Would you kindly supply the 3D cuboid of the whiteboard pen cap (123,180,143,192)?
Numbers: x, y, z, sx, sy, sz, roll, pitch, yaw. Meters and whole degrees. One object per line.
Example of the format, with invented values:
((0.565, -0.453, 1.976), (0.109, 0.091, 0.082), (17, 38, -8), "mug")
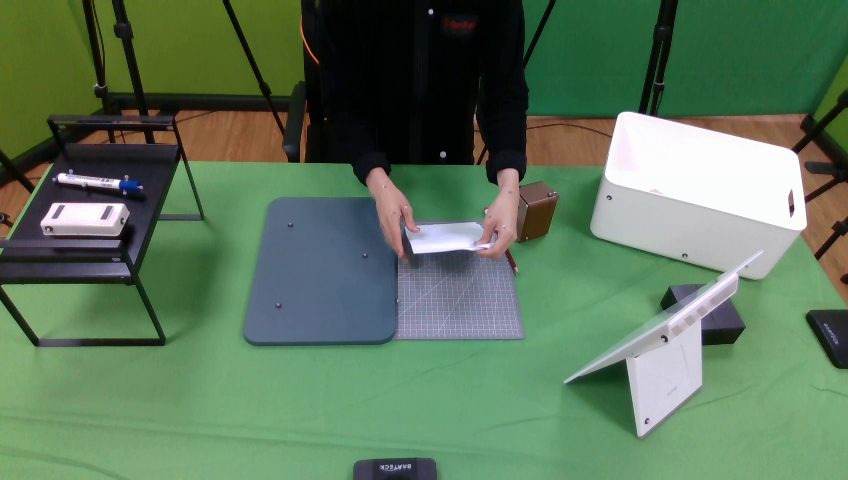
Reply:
((-0.479, -0.089, 0.993), (0.033, 0.018, 0.018), (7, 46, 14), "whiteboard pen cap")

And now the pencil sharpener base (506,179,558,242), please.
((0.216, -0.059, 1.211), (0.077, 0.107, 0.061), (-16, 49, -19), "pencil sharpener base")

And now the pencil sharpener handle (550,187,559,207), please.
((0.261, -0.084, 1.221), (0.031, 0.068, 0.036), (-16, 65, -19), "pencil sharpener handle")

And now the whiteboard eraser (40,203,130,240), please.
((-0.513, -0.028, 0.922), (0.113, 0.042, 0.055), (1, 48, -3), "whiteboard eraser")

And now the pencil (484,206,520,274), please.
((0.156, -0.002, 1.218), (0.012, 0.012, 0.192), (-10, 48, -13), "pencil")

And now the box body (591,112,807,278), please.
((0.540, -0.092, 1.229), (0.363, 0.161, 0.253), (16, 47, 11), "box body")

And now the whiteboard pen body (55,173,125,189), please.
((-0.539, -0.095, 0.998), (0.141, 0.017, 0.017), (6, 46, 6), "whiteboard pen body")

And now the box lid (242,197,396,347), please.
((-0.186, 0.046, 1.147), (0.263, 0.015, 0.369), (0, 46, -3), "box lid")

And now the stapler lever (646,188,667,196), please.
((0.507, -0.075, 1.262), (0.027, 0.040, 0.117), (-14, 46, -19), "stapler lever")

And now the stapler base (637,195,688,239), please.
((0.507, -0.055, 1.280), (0.041, 0.024, 0.129), (-14, 47, -19), "stapler base")

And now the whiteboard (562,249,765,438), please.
((0.386, 0.175, 0.905), (0.217, 0.306, 0.143), (-26, 72, -26), "whiteboard")
